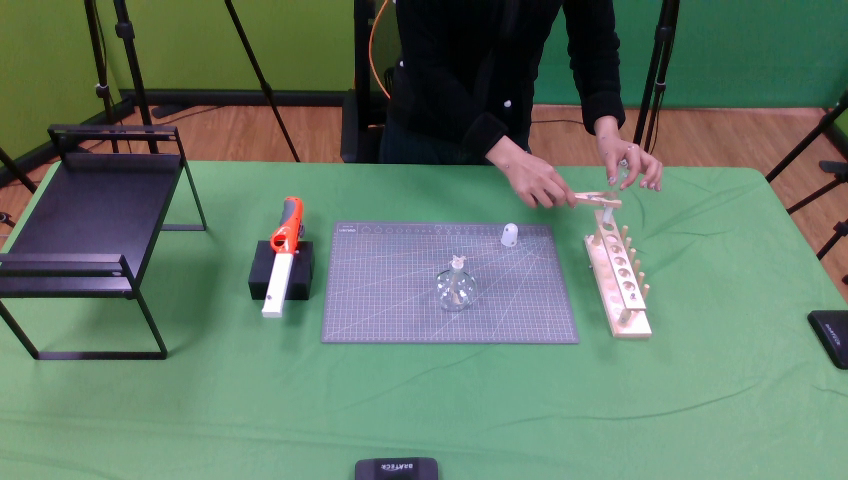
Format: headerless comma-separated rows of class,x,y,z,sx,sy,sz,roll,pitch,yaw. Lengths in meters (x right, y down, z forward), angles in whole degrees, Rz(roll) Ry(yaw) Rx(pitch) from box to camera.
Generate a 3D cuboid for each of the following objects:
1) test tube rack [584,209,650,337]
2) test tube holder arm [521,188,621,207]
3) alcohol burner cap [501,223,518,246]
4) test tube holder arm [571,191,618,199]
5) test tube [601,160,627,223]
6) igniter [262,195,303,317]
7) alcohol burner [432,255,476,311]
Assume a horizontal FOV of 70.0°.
test tube rack,0.365,0.056,1.129,0.067,0.085,0.240,1,46,-4
test tube holder arm,0.264,-0.077,1.096,0.178,0.015,0.013,6,47,2
alcohol burner cap,0.173,-0.013,1.206,0.034,0.048,0.033,0,47,0
test tube holder arm,0.309,-0.079,1.101,0.088,0.015,0.010,-5,48,-9
test tube,0.340,-0.084,1.089,0.017,0.151,0.017,-1,50,1
igniter,-0.253,0.020,1.090,0.057,0.025,0.275,0,49,-1
alcohol burner,0.055,0.070,1.068,0.078,0.119,0.077,3,45,-3
